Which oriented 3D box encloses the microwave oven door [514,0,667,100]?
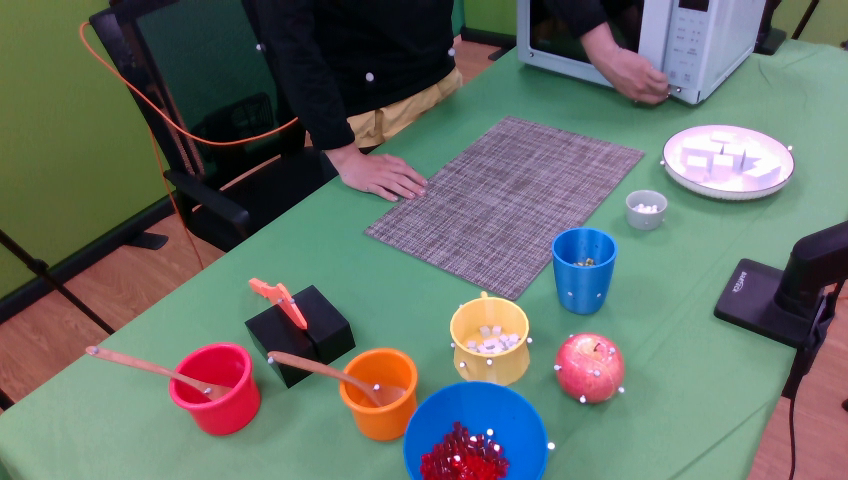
[{"bbox_3d":[0.337,-0.450,1.255,0.353,0.245,0.039,29,53,35],"label":"microwave oven door"}]

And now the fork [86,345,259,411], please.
[{"bbox_3d":[-0.298,0.167,0.728,0.209,0.018,0.028,28,47,-23],"label":"fork"}]

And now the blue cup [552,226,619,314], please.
[{"bbox_3d":[0.218,0.046,0.826,0.092,0.101,0.092,-6,40,5],"label":"blue cup"}]

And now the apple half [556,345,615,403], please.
[{"bbox_3d":[0.181,0.167,0.709,0.080,0.081,0.033,29,50,35],"label":"apple half"}]

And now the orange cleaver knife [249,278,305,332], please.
[{"bbox_3d":[-0.210,0.089,0.856,0.012,0.077,0.210,-28,14,-25],"label":"orange cleaver knife"}]

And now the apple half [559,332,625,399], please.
[{"bbox_3d":[0.209,0.147,0.731,0.080,0.075,0.053,26,48,38],"label":"apple half"}]

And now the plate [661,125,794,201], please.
[{"bbox_3d":[0.513,-0.128,1.035,0.207,0.039,0.206,-4,40,4],"label":"plate"}]

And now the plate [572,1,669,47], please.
[{"bbox_3d":[0.441,-0.484,1.366,0.209,0.038,0.208,-5,41,5],"label":"plate"}]

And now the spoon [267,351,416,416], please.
[{"bbox_3d":[-0.091,0.162,0.699,0.021,0.195,0.041,-45,30,26],"label":"spoon"}]

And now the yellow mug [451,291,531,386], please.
[{"bbox_3d":[0.086,0.120,0.786,0.100,0.064,0.130,-7,39,1],"label":"yellow mug"}]

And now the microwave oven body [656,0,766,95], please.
[{"bbox_3d":[0.472,-0.513,1.317,0.438,0.261,0.327,26,51,34],"label":"microwave oven body"}]

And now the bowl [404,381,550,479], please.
[{"bbox_3d":[0.058,0.235,0.645,0.151,0.077,0.150,-4,39,4],"label":"bowl"}]

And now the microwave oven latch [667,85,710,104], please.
[{"bbox_3d":[0.526,-0.299,1.205,0.030,0.029,0.078,-26,43,-18],"label":"microwave oven latch"}]

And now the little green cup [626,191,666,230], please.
[{"bbox_3d":[0.352,-0.046,0.963,0.061,0.039,0.061,-4,40,4],"label":"little green cup"}]
